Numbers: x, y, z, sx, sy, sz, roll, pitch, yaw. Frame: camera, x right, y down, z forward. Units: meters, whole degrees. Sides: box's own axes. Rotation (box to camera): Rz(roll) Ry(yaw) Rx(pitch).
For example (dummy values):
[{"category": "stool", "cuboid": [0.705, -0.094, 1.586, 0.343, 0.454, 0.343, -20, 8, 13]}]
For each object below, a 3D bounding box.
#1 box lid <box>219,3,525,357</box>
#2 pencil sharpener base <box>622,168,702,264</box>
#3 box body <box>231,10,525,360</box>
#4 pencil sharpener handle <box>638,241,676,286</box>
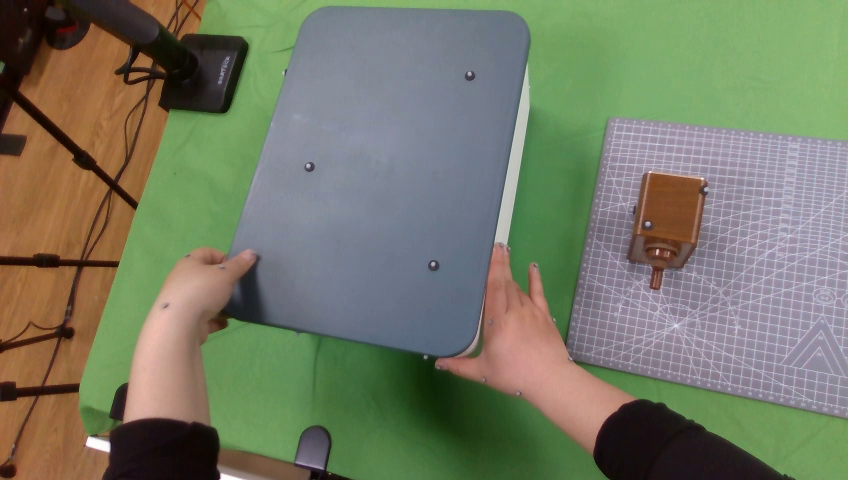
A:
[{"category": "box lid", "cuboid": [-0.049, -0.081, 0.621, 0.262, 0.015, 0.369, 8, 76, 13]}, {"category": "pencil sharpener base", "cuboid": [0.248, -0.020, 0.641, 0.061, 0.108, 0.076, 10, 77, 16]}, {"category": "box body", "cuboid": [-0.032, -0.057, 0.695, 0.253, 0.161, 0.362, 7, 76, 15]}, {"category": "pencil sharpener handle", "cuboid": [0.236, 0.026, 0.618, 0.036, 0.068, 0.030, 8, 76, 24]}]
